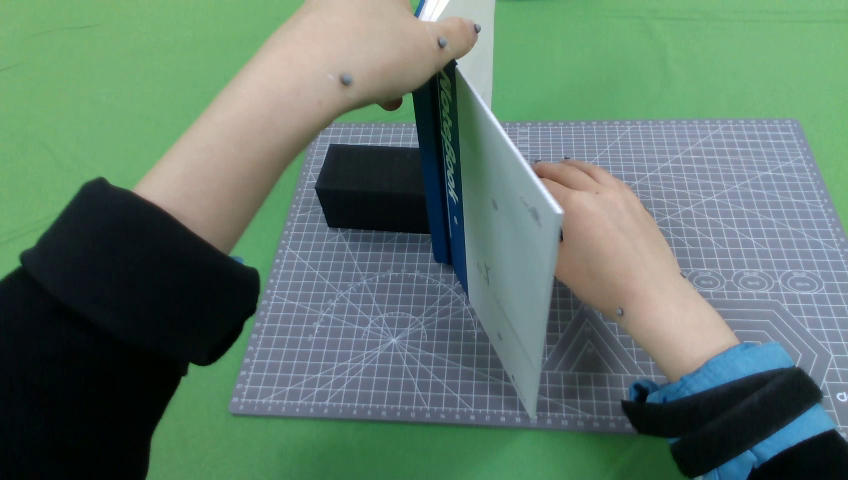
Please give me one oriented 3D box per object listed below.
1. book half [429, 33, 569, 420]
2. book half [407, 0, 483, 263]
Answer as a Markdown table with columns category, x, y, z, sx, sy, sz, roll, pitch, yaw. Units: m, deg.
| category | x | y | z | sx | sy | sz | roll | pitch | yaw |
| --- | --- | --- | --- | --- | --- | --- | --- | --- | --- |
| book half | 0.038 | 0.005 | 0.356 | 0.007 | 0.212 | 0.141 | -20 | 53 | -10 |
| book half | 0.023 | -0.101 | 0.441 | 0.016 | 0.212 | 0.147 | 9 | 54 | 13 |
